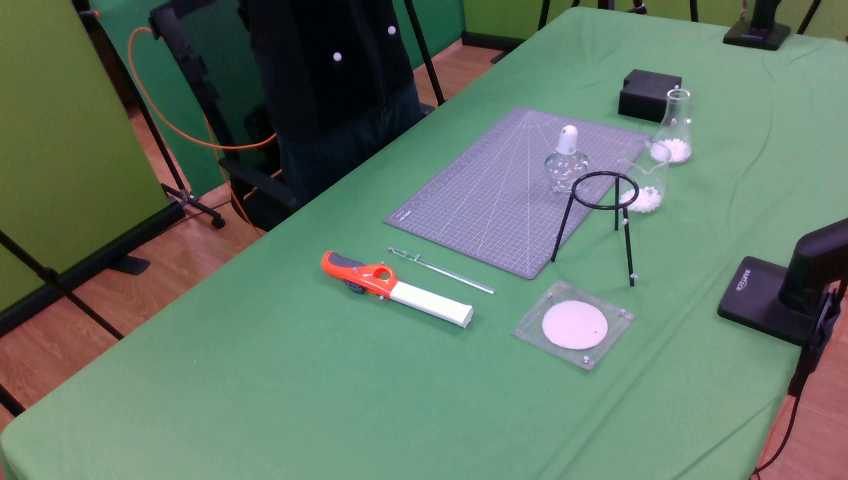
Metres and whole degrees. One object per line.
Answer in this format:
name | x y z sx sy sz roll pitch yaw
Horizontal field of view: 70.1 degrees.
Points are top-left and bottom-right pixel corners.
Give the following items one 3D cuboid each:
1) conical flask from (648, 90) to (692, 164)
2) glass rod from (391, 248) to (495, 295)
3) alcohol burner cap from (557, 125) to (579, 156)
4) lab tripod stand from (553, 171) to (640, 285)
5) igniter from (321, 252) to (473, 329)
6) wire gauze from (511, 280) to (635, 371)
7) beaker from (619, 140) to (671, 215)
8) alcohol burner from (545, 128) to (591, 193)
conical flask | 0.437 -0.199 1.057 0.075 0.122 0.075 -5 40 5
glass rod | 0.026 0.046 0.936 0.198 0.008 0.008 22 50 32
alcohol burner cap | 0.241 -0.167 1.004 0.034 0.048 0.033 0 39 1
lab tripod stand | 0.260 -0.025 0.877 0.148 0.132 0.147 -6 38 5
igniter | -0.051 0.071 0.906 0.274 0.025 0.057 18 58 29
wire gauze | 0.203 0.114 0.822 0.120 0.011 0.125 25 52 35
beaker | 0.352 -0.096 0.971 0.074 0.101 0.084 1 42 13
alcohol burner | 0.245 -0.141 1.028 0.078 0.119 0.077 -5 42 5
